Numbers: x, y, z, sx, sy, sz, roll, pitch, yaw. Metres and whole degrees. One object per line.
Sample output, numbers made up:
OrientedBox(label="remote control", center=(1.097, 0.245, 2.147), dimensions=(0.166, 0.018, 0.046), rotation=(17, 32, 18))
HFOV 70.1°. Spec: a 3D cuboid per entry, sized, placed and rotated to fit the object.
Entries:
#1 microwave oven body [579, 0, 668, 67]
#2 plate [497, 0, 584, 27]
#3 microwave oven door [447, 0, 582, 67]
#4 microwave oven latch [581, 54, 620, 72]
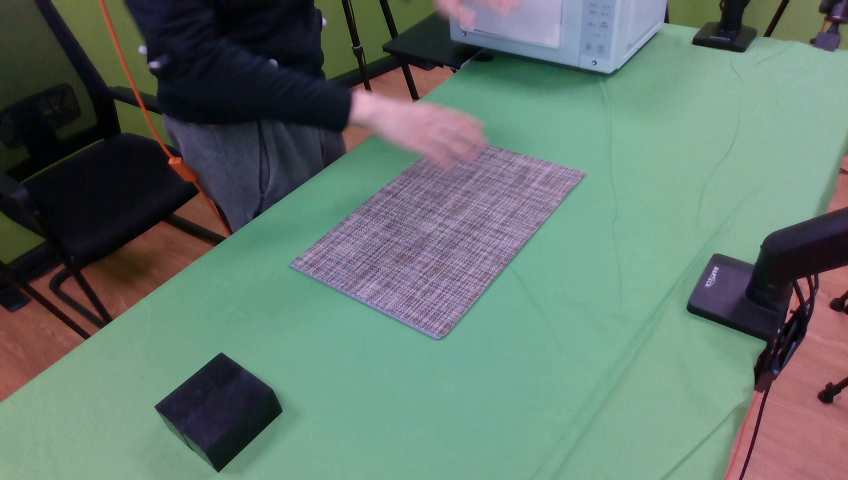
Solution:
OrientedBox(label="microwave oven body", center=(0.325, -0.609, 1.437), dimensions=(0.438, 0.261, 0.327), rotation=(23, 50, 30))
OrientedBox(label="plate", center=(0.286, -0.572, 1.489), dimensions=(0.209, 0.038, 0.208), rotation=(-5, 41, 5))
OrientedBox(label="microwave oven door", center=(0.203, -0.544, 1.372), dimensions=(0.353, 0.245, 0.039), rotation=(23, 49, 29))
OrientedBox(label="microwave oven latch", center=(0.386, -0.394, 1.330), dimensions=(0.078, 0.029, 0.030), rotation=(25, 51, 32))
